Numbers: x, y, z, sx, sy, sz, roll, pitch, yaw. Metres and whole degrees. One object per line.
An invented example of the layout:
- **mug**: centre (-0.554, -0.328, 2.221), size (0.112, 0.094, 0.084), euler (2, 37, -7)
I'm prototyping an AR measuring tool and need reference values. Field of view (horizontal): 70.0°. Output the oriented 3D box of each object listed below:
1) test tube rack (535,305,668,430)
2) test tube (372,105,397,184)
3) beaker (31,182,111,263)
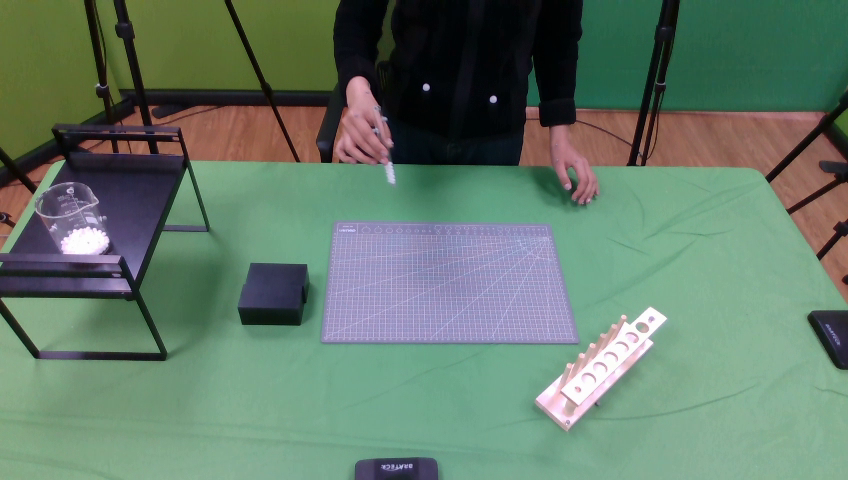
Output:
- **test tube rack**: centre (0.290, 0.193, 0.984), size (0.242, 0.085, 0.066), euler (-32, 57, -30)
- **test tube**: centre (-0.065, -0.157, 1.020), size (0.017, 0.151, 0.017), euler (-7, 39, 6)
- **beaker**: centre (-0.502, -0.023, 0.877), size (0.084, 0.101, 0.073), euler (-2, 47, -7)
